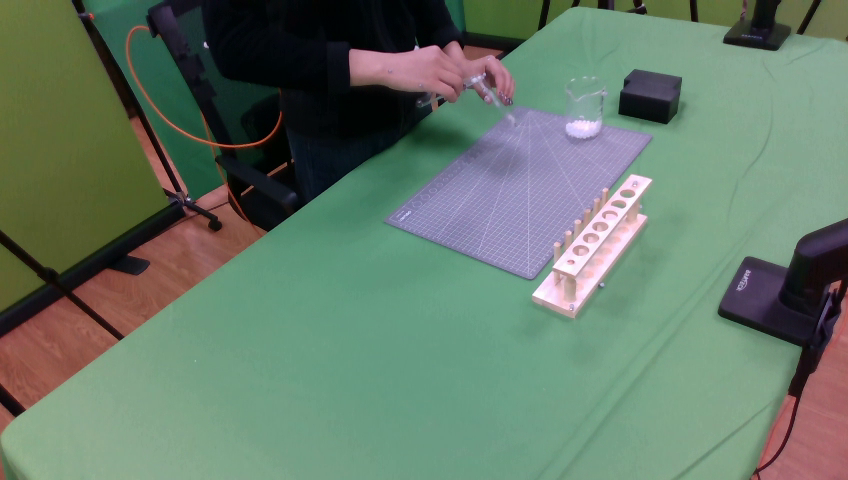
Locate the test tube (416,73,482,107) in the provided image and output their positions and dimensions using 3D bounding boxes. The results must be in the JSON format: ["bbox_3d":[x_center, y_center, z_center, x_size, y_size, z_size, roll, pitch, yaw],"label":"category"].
[{"bbox_3d":[0.043,-0.252,1.015,0.151,0.017,0.017,-32,45,-32],"label":"test tube"}]

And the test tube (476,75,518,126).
[{"bbox_3d":[0.136,-0.254,1.112,0.017,0.151,0.017,-16,59,29],"label":"test tube"}]

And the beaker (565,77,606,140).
[{"bbox_3d":[0.305,-0.247,1.153,0.073,0.101,0.084,15,47,27],"label":"beaker"}]

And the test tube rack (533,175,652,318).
[{"bbox_3d":[0.251,-0.001,0.888,0.066,0.085,0.243,22,49,33],"label":"test tube rack"}]
